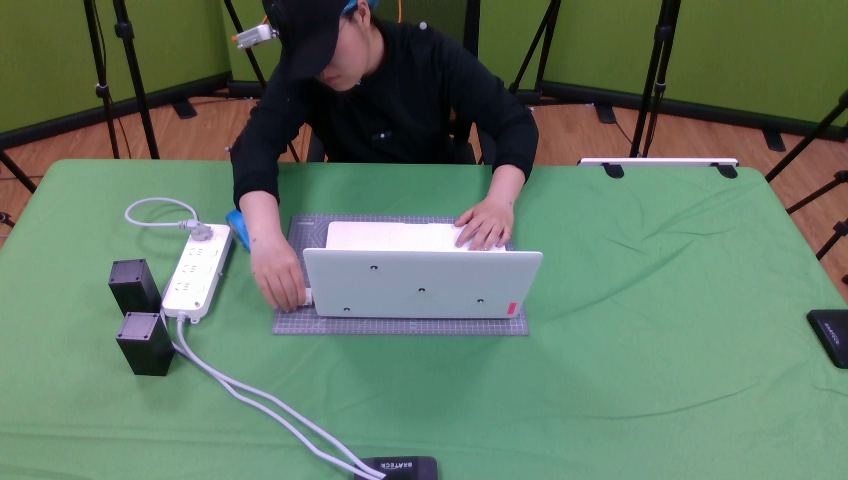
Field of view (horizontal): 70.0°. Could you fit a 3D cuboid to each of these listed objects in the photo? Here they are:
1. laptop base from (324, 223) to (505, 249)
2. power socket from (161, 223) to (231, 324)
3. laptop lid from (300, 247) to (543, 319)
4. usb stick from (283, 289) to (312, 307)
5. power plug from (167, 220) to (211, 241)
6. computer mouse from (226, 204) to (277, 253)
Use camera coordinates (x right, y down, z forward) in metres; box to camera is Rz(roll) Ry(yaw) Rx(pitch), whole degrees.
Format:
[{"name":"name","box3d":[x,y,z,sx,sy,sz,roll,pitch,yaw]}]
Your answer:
[{"name":"laptop base","box3d":[-0.015,0.054,1.146,0.354,0.023,0.234,1,43,-3]},{"name":"power socket","box3d":[-0.412,0.051,1.106,0.072,0.033,0.225,4,46,-2]},{"name":"laptop lid","box3d":[-0.006,0.075,0.963,0.357,0.242,0.013,2,58,-4]},{"name":"usb stick","box3d":[-0.217,0.103,1.069,0.059,0.027,0.021,-1,39,-5]},{"name":"power plug","box3d":[-0.438,-0.017,1.143,0.072,0.053,0.035,10,44,6]},{"name":"computer mouse","box3d":[-0.338,-0.027,1.186,0.063,0.041,0.116,-25,57,-28]}]
